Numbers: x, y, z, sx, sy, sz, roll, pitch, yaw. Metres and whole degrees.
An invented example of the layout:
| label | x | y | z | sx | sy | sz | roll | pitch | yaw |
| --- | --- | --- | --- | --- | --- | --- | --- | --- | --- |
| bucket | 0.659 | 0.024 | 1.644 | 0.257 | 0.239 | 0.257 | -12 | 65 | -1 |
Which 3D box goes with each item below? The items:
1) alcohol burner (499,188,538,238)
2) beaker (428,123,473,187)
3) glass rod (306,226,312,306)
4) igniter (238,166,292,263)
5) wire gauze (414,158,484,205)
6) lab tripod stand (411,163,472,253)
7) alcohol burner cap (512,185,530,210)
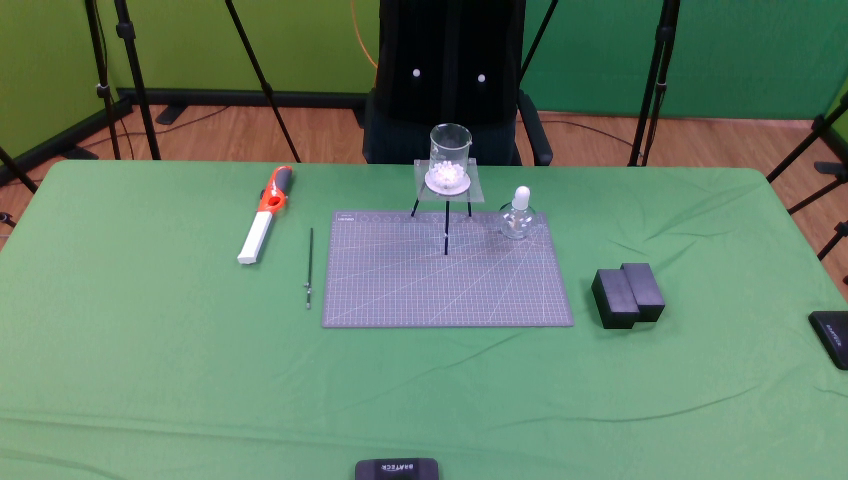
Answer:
| label | x | y | z | sx | sy | sz | roll | pitch | yaw |
| --- | --- | --- | --- | --- | --- | --- | --- | --- | --- |
| alcohol burner | 0.189 | -0.060 | 1.202 | 0.078 | 0.120 | 0.077 | 2 | 48 | -2 |
| beaker | 0.044 | -0.154 | 1.109 | 0.074 | 0.101 | 0.083 | -25 | 54 | -25 |
| glass rod | -0.218 | 0.045 | 1.148 | 0.008 | 0.008 | 0.198 | -3 | 47 | -6 |
| igniter | -0.319 | -0.060 | 1.229 | 0.057 | 0.025 | 0.275 | -1 | 45 | 10 |
| wire gauze | 0.045 | -0.113 | 1.137 | 0.125 | 0.011 | 0.120 | 2 | 48 | -6 |
| lab tripod stand | 0.043 | -0.069 | 1.187 | 0.148 | 0.132 | 0.147 | 3 | 47 | -3 |
| alcohol burner cap | 0.190 | -0.086 | 1.176 | 0.034 | 0.048 | 0.033 | 3 | 50 | -3 |
